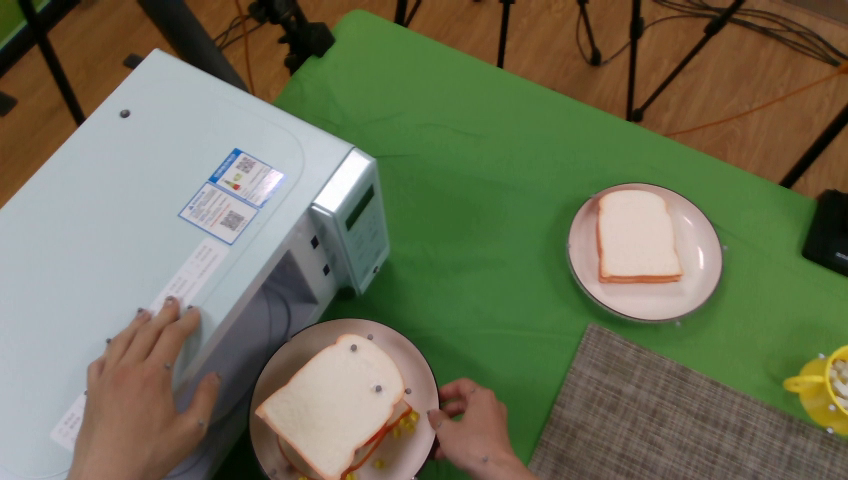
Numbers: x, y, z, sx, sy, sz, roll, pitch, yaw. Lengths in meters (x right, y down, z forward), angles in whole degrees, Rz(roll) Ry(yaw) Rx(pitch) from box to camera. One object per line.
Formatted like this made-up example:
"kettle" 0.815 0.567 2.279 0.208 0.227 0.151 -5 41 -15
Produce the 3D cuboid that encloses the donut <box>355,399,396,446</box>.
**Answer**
"donut" -0.078 0.171 0.649 0.099 0.048 0.098 6 58 -9

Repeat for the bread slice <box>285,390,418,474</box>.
"bread slice" -0.087 0.191 0.668 0.131 0.019 0.104 -41 73 -21

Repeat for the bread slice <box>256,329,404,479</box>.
"bread slice" -0.088 0.157 0.619 0.106 0.018 0.134 39 62 8

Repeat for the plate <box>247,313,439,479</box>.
"plate" -0.088 0.184 0.672 0.209 0.038 0.207 0 65 0

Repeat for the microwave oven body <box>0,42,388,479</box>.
"microwave oven body" -0.294 0.057 0.696 0.325 0.262 0.440 27 70 12

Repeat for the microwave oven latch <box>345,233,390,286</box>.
"microwave oven latch" -0.076 0.021 0.815 0.030 0.030 0.079 31 70 13

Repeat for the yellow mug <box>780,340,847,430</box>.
"yellow mug" 0.509 0.176 0.743 0.131 0.064 0.099 5 65 5

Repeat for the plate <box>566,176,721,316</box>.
"plate" 0.298 0.009 0.837 0.208 0.039 0.206 0 66 1
